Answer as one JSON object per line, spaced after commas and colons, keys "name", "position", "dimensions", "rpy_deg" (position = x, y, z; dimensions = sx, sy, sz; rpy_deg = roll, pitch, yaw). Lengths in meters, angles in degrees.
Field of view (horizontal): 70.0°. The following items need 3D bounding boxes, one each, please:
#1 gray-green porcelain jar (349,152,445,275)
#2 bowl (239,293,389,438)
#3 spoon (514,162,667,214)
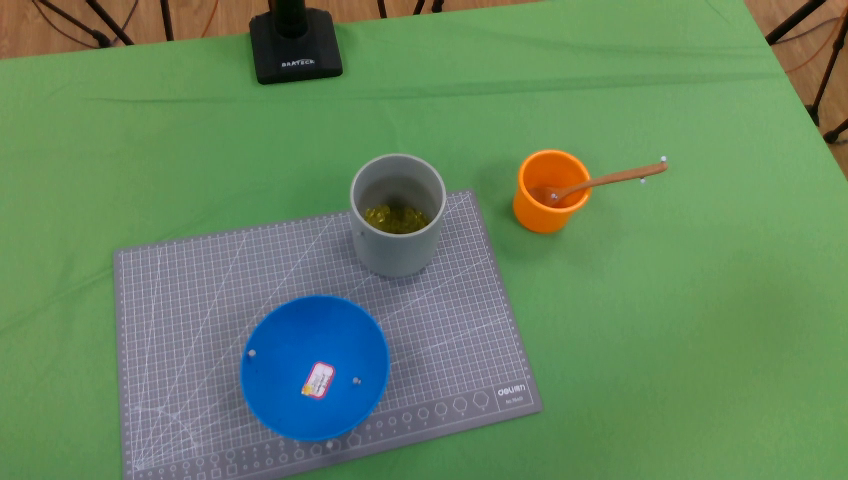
{"name": "gray-green porcelain jar", "position": [-0.033, -0.024, 0.705], "dimensions": [0.106, 0.127, 0.105], "rpy_deg": [2, 64, -4]}
{"name": "bowl", "position": [-0.113, 0.139, 0.647], "dimensions": [0.151, 0.077, 0.150], "rpy_deg": [2, 65, -5]}
{"name": "spoon", "position": [0.196, -0.066, 0.738], "dimensions": [0.022, 0.193, 0.041], "rpy_deg": [32, 56, -40]}
